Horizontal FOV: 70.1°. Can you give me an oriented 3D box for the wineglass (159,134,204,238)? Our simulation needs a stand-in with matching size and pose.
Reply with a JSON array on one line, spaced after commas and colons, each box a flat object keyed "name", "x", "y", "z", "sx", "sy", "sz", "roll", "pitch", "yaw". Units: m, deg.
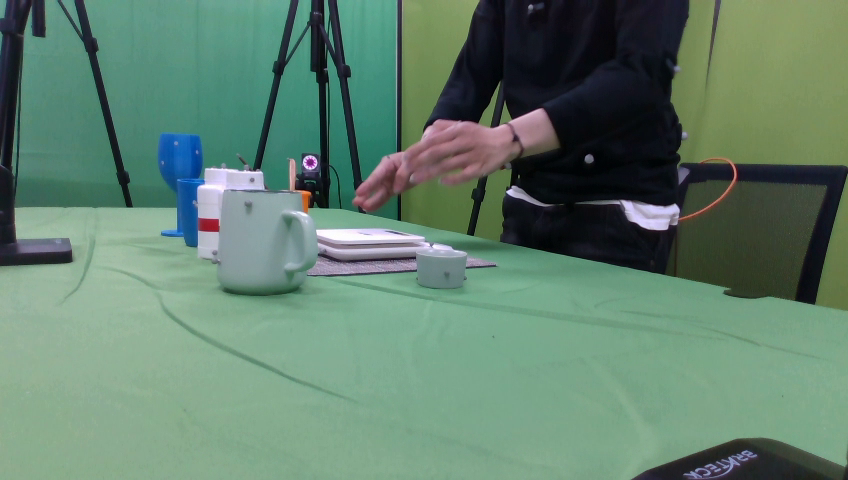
[{"name": "wineglass", "x": -0.415, "y": -0.093, "z": 1.040, "sx": 0.074, "sy": 0.172, "sz": 0.073, "roll": 2, "pitch": 7, "yaw": 0}]

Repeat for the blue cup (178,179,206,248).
[{"name": "blue cup", "x": -0.335, "y": -0.041, "z": 0.936, "sx": 0.093, "sy": 0.100, "sz": 0.092, "roll": 3, "pitch": 9, "yaw": 0}]

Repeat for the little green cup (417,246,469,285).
[{"name": "little green cup", "x": 0.021, "y": 0.029, "z": 0.701, "sx": 0.061, "sy": 0.038, "sz": 0.061, "roll": 2, "pitch": 6, "yaw": 0}]

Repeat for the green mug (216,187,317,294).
[{"name": "green mug", "x": -0.157, "y": 0.000, "z": 0.629, "sx": 0.124, "sy": 0.105, "sz": 0.093, "roll": 7, "pitch": 9, "yaw": 37}]

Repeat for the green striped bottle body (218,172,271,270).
[{"name": "green striped bottle body", "x": -0.223, "y": -0.025, "z": 0.755, "sx": 0.063, "sy": 0.119, "sz": 0.063, "roll": 1, "pitch": 7, "yaw": 0}]

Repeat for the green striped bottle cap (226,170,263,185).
[{"name": "green striped bottle cap", "x": -0.222, "y": -0.077, "z": 0.748, "sx": 0.044, "sy": 0.020, "sz": 0.044, "roll": 1, "pitch": 7, "yaw": 0}]

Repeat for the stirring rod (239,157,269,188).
[{"name": "stirring rod", "x": -0.309, "y": -0.098, "z": 1.209, "sx": 0.006, "sy": 0.177, "sz": 0.014, "roll": -39, "pitch": 29, "yaw": -4}]

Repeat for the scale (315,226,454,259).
[{"name": "scale", "x": -0.066, "y": 0.001, "z": 0.906, "sx": 0.202, "sy": 0.031, "sz": 0.148, "roll": -2, "pitch": 8, "yaw": -31}]

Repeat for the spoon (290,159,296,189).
[{"name": "spoon", "x": -0.273, "y": -0.102, "z": 1.252, "sx": 0.042, "sy": 0.193, "sz": 0.021, "roll": 7, "pitch": -39, "yaw": -17}]

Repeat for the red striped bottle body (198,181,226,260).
[{"name": "red striped bottle body", "x": -0.275, "y": -0.035, "z": 0.827, "sx": 0.063, "sy": 0.119, "sz": 0.063, "roll": 1, "pitch": 6, "yaw": 0}]

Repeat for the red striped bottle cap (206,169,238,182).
[{"name": "red striped bottle cap", "x": -0.273, "y": -0.088, "z": 0.821, "sx": 0.044, "sy": 0.017, "sz": 0.044, "roll": -1, "pitch": 6, "yaw": 0}]
